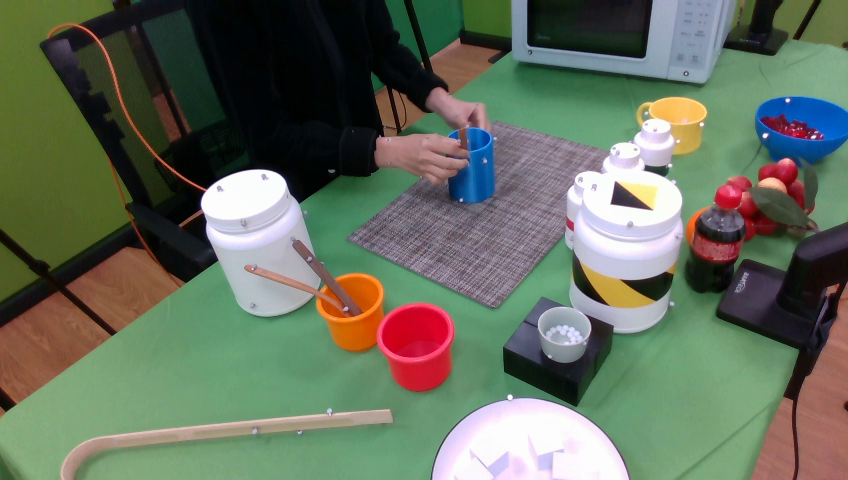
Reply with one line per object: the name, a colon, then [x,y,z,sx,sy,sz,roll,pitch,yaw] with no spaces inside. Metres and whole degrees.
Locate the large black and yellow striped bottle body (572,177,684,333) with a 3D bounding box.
large black and yellow striped bottle body: [0.262,0.017,0.788,0.131,0.185,0.130,-5,40,4]

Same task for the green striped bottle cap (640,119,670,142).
green striped bottle cap: [0.371,-0.174,0.968,0.044,0.020,0.044,-3,41,3]

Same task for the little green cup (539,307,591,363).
little green cup: [0.167,0.114,0.721,0.061,0.039,0.061,-4,43,4]

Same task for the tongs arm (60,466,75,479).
tongs arm: [-0.239,0.301,0.649,0.386,0.028,0.028,6,49,16]

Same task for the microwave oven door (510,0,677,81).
microwave oven door: [0.354,-0.478,1.290,0.353,0.245,0.039,15,45,25]

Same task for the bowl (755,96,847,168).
bowl: [0.645,-0.177,1.041,0.151,0.077,0.150,-5,40,4]

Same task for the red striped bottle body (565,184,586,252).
red striped bottle body: [0.247,-0.041,0.910,0.063,0.120,0.062,-3,39,3]

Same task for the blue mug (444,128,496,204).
blue mug: [0.081,-0.139,1.059,0.082,0.106,0.116,-4,40,5]

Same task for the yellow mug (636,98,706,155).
yellow mug: [0.453,-0.217,1.128,0.100,0.064,0.129,-34,46,-28]

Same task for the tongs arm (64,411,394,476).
tongs arm: [-0.228,0.240,0.715,0.385,0.026,0.050,-5,44,5]

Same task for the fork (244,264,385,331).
fork: [-0.142,0.078,0.806,0.209,0.018,0.028,30,32,-23]

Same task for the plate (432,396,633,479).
plate: [0.112,0.261,0.634,0.209,0.038,0.208,-5,40,4]

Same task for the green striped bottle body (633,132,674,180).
green striped bottle body: [0.376,-0.135,1.001,0.063,0.120,0.063,-5,40,5]

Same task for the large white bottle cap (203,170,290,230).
large white bottle cap: [-0.241,-0.057,0.822,0.115,0.018,0.114,-4,40,4]

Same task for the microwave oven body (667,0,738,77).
microwave oven body: [0.462,-0.552,1.369,0.439,0.261,0.326,15,45,26]

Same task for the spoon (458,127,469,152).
spoon: [0.070,-0.143,0.993,0.041,0.194,0.021,-15,71,6]

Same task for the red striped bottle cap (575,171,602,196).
red striped bottle cap: [0.242,-0.081,0.876,0.044,0.018,0.044,-5,44,5]

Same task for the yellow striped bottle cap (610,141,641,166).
yellow striped bottle cap: [0.308,-0.131,0.925,0.044,0.019,0.044,-4,46,5]

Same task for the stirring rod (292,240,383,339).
stirring rod: [-0.118,0.068,0.826,0.176,0.006,0.014,49,59,-4]

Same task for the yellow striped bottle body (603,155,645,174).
yellow striped bottle body: [0.314,-0.090,0.957,0.063,0.121,0.062,-4,40,4]

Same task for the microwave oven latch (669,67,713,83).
microwave oven latch: [0.556,-0.349,1.261,0.078,0.029,0.030,16,46,27]

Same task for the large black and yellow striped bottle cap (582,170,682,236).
large black and yellow striped bottle cap: [0.252,-0.048,0.735,0.115,0.019,0.114,-3,40,3]

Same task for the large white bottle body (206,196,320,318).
large white bottle body: [-0.233,0.008,0.877,0.130,0.185,0.130,-4,40,4]
